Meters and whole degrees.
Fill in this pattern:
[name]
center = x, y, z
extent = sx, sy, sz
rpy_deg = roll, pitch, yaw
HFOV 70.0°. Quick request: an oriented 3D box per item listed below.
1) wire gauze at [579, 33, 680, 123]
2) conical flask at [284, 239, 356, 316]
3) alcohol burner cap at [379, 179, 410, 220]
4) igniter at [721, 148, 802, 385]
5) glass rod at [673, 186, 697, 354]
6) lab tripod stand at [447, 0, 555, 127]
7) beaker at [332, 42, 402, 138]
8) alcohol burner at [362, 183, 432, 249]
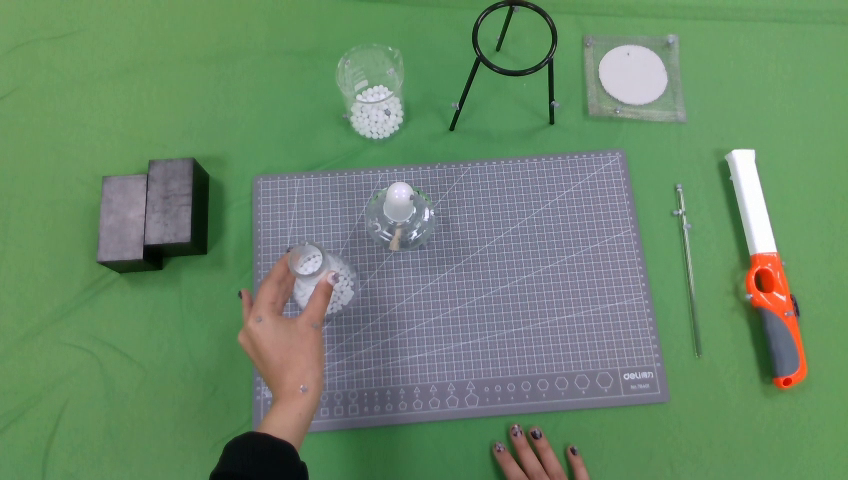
[wire gauze]
center = 0.260, -0.208, 0.765
extent = 0.125, 0.011, 0.121
rpy_deg = 3, 75, -1
[conical flask]
center = -0.114, 0.034, 0.633
extent = 0.075, 0.122, 0.075
rpy_deg = 0, 74, 0
[alcohol burner cap]
center = -0.028, -0.044, 0.622
extent = 0.034, 0.048, 0.033
rpy_deg = 3, 67, -7
[igniter]
center = 0.384, 0.024, 0.691
extent = 0.057, 0.025, 0.275
rpy_deg = -1, 74, -12
[glass rod]
center = 0.300, 0.031, 0.698
extent = 0.008, 0.008, 0.198
rpy_deg = 0, 74, 0
[lab tripod stand]
center = 0.090, -0.195, 0.695
extent = 0.148, 0.132, 0.147
rpy_deg = 0, 76, 0
[beaker]
center = -0.060, -0.171, 0.705
extent = 0.073, 0.101, 0.084
rpy_deg = 43, 78, 11
[alcohol burner]
center = -0.029, -0.032, 0.656
extent = 0.078, 0.119, 0.077
rpy_deg = 1, 73, -2
